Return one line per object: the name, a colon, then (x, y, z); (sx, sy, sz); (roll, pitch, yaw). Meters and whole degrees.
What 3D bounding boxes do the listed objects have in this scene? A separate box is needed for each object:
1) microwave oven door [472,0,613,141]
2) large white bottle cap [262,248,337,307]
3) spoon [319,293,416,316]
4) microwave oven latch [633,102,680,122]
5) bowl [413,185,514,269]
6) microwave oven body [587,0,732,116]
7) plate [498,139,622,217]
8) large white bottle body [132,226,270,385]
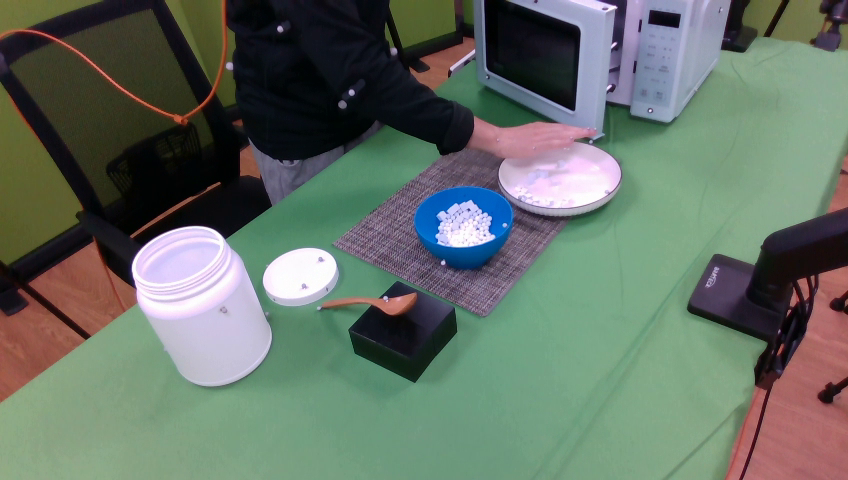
microwave oven door: (0.216, -0.367, 1.171); (0.039, 0.245, 0.352); (-28, 45, -23)
large white bottle cap: (-0.193, 0.056, 0.934); (0.115, 0.018, 0.114); (-4, 41, 4)
spoon: (-0.082, 0.086, 0.826); (0.192, 0.022, 0.041); (-3, 37, 41)
microwave oven latch: (0.443, -0.249, 1.157); (0.078, 0.029, 0.030); (21, 49, 30)
bowl: (0.062, -0.009, 0.920); (0.151, 0.077, 0.150); (-4, 40, 4)
microwave oven body: (0.377, -0.462, 1.267); (0.438, 0.261, 0.327); (21, 48, 30)
plate: (0.231, -0.103, 1.038); (0.209, 0.038, 0.208); (-4, 41, 4)
large white bottle body: (-0.286, 0.085, 0.783); (0.130, 0.185, 0.130); (-4, 41, 4)
